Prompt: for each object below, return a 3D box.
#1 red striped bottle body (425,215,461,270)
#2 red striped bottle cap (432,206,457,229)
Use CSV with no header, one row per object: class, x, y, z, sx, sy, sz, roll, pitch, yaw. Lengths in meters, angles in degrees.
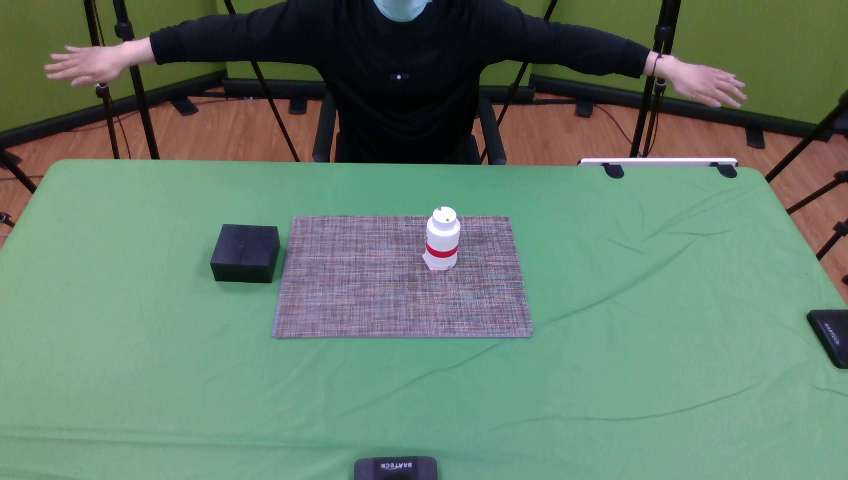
red striped bottle body,0.035,-0.004,1.128,0.063,0.120,0.062,1,46,-1
red striped bottle cap,0.037,-0.041,1.090,0.044,0.018,0.044,0,47,1
